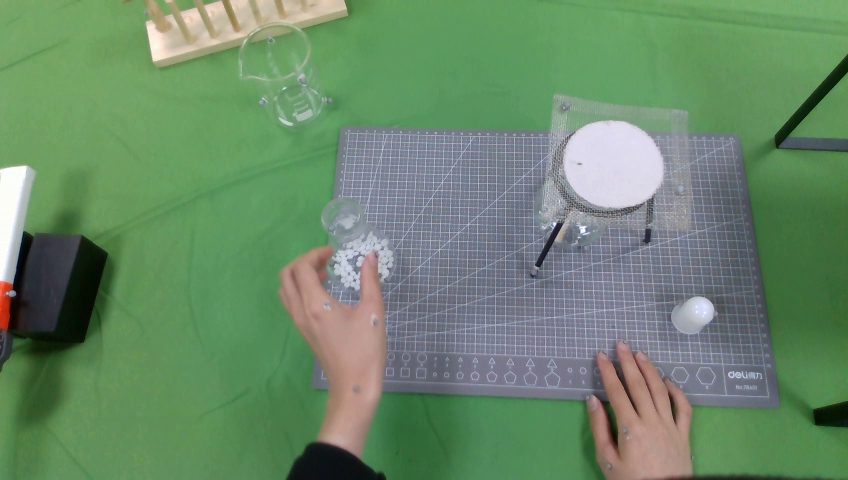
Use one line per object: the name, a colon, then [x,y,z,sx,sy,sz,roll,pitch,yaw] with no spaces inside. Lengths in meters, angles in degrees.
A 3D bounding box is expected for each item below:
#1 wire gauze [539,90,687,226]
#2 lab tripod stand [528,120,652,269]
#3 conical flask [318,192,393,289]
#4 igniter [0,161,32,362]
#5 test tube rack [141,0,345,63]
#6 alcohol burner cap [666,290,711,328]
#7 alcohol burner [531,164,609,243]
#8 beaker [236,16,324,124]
wire gauze: [0.165,-0.072,0.523,0.121,0.011,0.124,7,70,3]
lab tripod stand: [0.160,-0.043,0.585,0.148,0.132,0.147,0,68,1]
conical flask: [-0.072,-0.004,0.584,0.075,0.123,0.075,-1,68,2]
igniter: [-0.416,0.050,0.579,0.057,0.025,0.274,-6,68,4]
test tube rack: [-0.225,-0.295,0.722,0.242,0.086,0.066,-17,70,-5]
alcohol burner cap: [0.260,0.064,0.590,0.034,0.048,0.033,-1,70,2]
alcohol burner: [0.147,-0.042,0.596,0.078,0.120,0.077,0,69,0]
beaker: [-0.156,-0.180,0.669,0.084,0.101,0.073,-38,72,-12]
